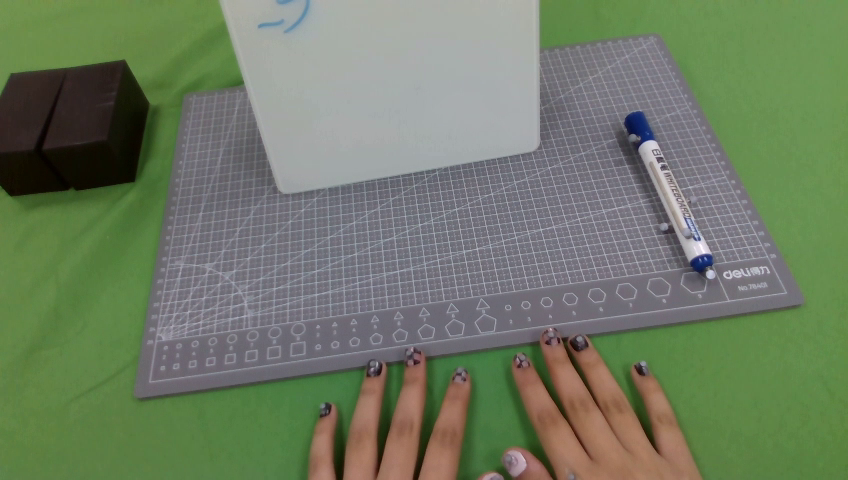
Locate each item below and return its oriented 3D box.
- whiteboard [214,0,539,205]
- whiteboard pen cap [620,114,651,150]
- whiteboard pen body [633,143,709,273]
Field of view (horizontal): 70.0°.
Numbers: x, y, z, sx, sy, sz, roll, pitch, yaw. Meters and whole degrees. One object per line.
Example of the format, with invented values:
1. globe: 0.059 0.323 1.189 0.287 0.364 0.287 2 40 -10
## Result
1. whiteboard: -0.039 -0.209 0.457 0.217 0.308 0.142 -10 35 -2
2. whiteboard pen cap: 0.171 -0.085 0.488 0.018 0.018 0.033 -9 58 -2
3. whiteboard pen body: 0.180 -0.037 0.456 0.017 0.017 0.139 -9 56 -2
